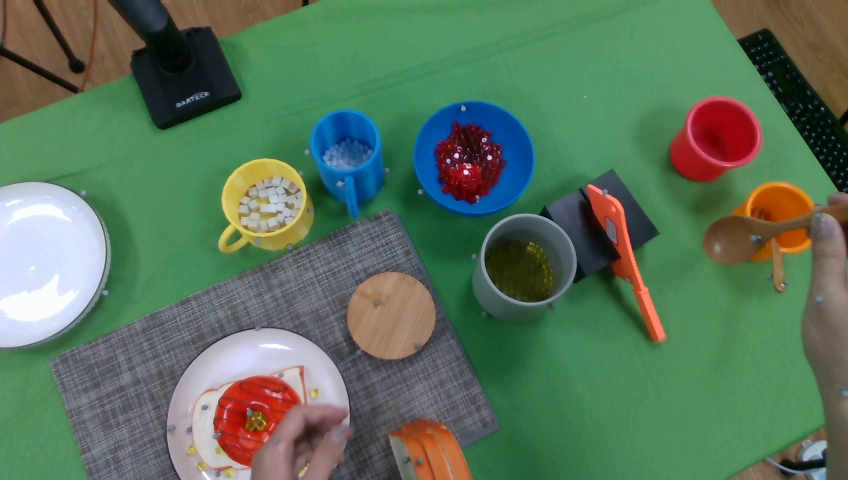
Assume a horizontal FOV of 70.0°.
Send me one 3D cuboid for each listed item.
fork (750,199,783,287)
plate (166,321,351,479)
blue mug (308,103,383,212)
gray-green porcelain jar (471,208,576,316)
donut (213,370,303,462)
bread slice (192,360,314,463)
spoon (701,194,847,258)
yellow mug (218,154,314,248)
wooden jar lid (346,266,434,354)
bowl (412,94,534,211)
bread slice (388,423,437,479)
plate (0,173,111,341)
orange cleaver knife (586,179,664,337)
[{"bbox_3d":[0.409,-0.001,0.720,0.028,0.019,0.206,37,33,1],"label":"fork"},{"bbox_3d":[-0.186,0.199,0.699,0.209,0.038,0.208,1,75,-2],"label":"plate"},{"bbox_3d":[-0.093,-0.092,0.749,0.082,0.106,0.116,-5,75,-3],"label":"blue mug"},{"bbox_3d":[0.111,0.031,0.713,0.106,0.127,0.105,1,75,-2],"label":"gray-green porcelain jar"},{"bbox_3d":[-0.183,0.194,0.672,0.099,0.048,0.098,1,76,-5],"label":"donut"},{"bbox_3d":[-0.199,0.203,0.701,0.132,0.019,0.104,-11,75,-8],"label":"bread slice"},{"bbox_3d":[0.272,-0.017,0.440,0.022,0.194,0.041,-9,83,-12],"label":"spoon"},{"bbox_3d":[-0.203,-0.038,0.751,0.099,0.064,0.130,42,79,9],"label":"yellow mug"},{"bbox_3d":[-0.041,0.086,0.744,0.108,0.021,0.108,1,76,-2],"label":"wooden jar lid"},{"bbox_3d":[0.059,-0.099,0.770,0.151,0.077,0.150,0,76,-2],"label":"bowl"},{"bbox_3d":[-0.009,0.246,0.648,0.018,0.135,0.106,-17,74,-15],"label":"bread slice"},{"bbox_3d":[-0.484,0.021,0.739,0.208,0.039,0.206,1,75,-2],"label":"plate"},{"bbox_3d":[0.245,0.022,0.743,0.012,0.076,0.212,-27,107,-8],"label":"orange cleaver knife"}]
